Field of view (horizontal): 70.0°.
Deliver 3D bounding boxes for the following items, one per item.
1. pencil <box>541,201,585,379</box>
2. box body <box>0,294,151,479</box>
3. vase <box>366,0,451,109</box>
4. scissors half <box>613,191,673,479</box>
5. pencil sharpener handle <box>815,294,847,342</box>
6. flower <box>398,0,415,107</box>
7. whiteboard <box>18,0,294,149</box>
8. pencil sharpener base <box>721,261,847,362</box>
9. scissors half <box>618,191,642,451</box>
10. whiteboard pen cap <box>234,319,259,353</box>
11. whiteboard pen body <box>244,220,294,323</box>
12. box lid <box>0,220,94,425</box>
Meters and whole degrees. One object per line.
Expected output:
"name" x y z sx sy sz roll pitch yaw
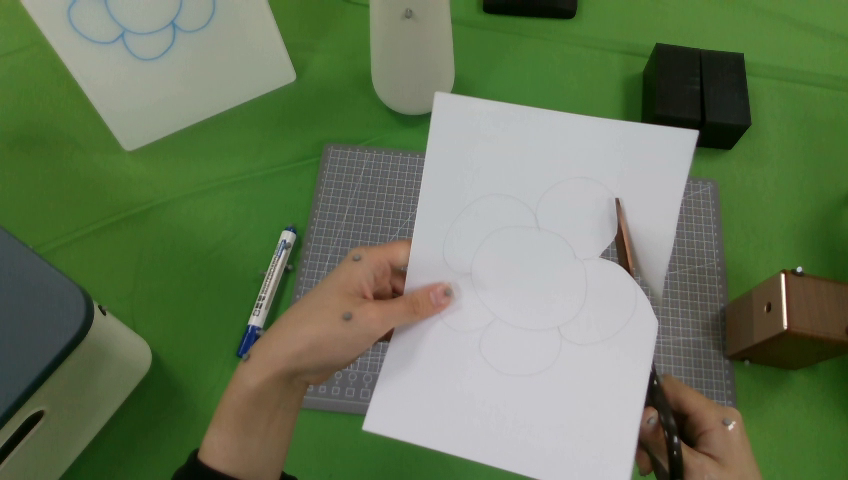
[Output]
"pencil" 0.145 0.048 0.630 0.012 0.012 0.192 -7 69 -3
"box body" -0.467 0.082 0.532 0.362 0.161 0.253 31 71 12
"vase" -0.018 -0.231 0.645 0.098 0.201 0.097 0 66 1
"scissors half" 0.127 0.057 0.356 0.013 0.040 0.175 -9 88 5
"pencil sharpener handle" 0.392 0.076 0.556 0.030 0.068 0.035 10 61 1
"flower" -0.024 -0.277 0.574 0.044 0.365 0.038 -1 49 3
"whiteboard" -0.307 -0.294 0.646 0.217 0.308 0.142 -27 50 -10
"pencil sharpener base" 0.341 0.071 0.568 0.077 0.107 0.061 10 67 1
"scissors half" 0.129 0.054 0.377 0.013 0.040 0.176 -8 110 10
"whiteboard pen cap" -0.175 0.095 0.603 0.018 0.018 0.033 12 63 5
"whiteboard pen body" -0.163 0.042 0.627 0.017 0.017 0.140 12 65 6
"box lid" -0.469 0.052 0.464 0.370 0.015 0.262 31 70 12
